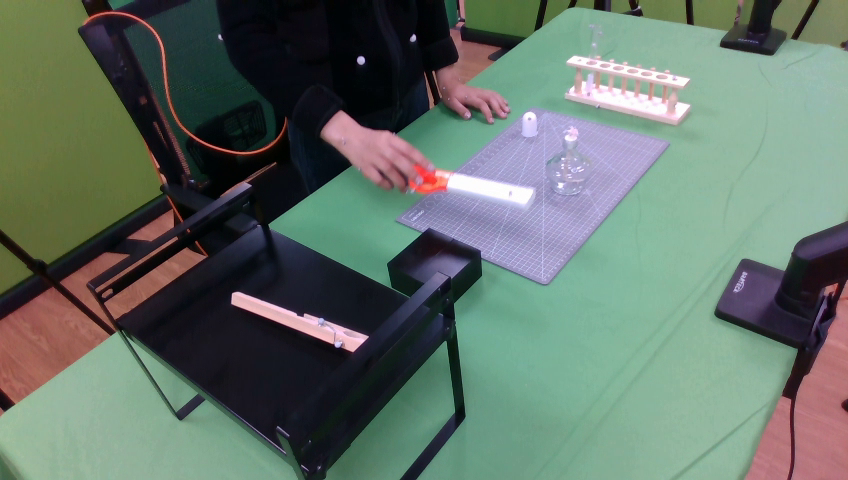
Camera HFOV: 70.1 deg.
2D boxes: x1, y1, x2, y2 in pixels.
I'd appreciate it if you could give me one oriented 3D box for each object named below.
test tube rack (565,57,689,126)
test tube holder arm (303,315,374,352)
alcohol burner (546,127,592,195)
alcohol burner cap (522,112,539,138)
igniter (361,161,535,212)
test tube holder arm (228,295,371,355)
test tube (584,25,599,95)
[{"bbox_3d":[0.412,-0.311,1.230,0.240,0.085,0.067,24,49,32],"label":"test tube rack"},{"bbox_3d":[-0.089,0.094,0.604,0.087,0.015,0.010,14,6,25],"label":"test tube holder arm"},{"bbox_3d":[0.247,-0.137,1.024,0.078,0.119,0.077,-4,38,4],"label":"alcohol burner"},{"bbox_3d":[0.210,-0.230,1.195,0.034,0.048,0.033,-5,41,5],"label":"alcohol burner cap"},{"bbox_3d":[0.029,-0.083,0.899,0.275,0.025,0.057,14,49,25],"label":"igniter"},{"bbox_3d":[-0.132,0.084,0.618,0.177,0.015,0.013,14,6,24],"label":"test tube holder arm"},{"bbox_3d":[0.339,-0.361,1.224,0.017,0.151,0.017,-4,45,4],"label":"test tube"}]
